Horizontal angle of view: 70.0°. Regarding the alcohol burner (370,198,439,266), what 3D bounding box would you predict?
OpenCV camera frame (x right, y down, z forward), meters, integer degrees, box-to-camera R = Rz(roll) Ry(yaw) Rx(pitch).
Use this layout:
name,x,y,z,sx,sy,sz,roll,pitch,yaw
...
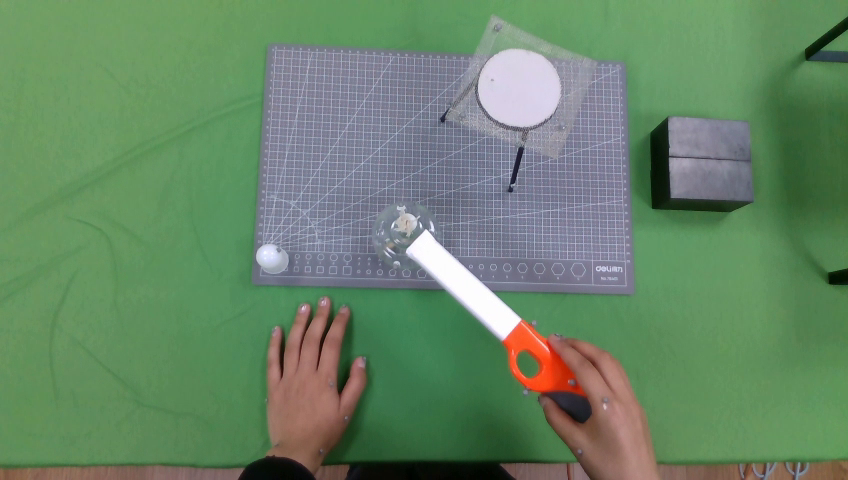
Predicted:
name,x,y,z,sx,sy,sz,roll,pitch,yaw
alcohol burner,-0.021,-0.011,0.660,0.078,0.119,0.077,1,81,-4

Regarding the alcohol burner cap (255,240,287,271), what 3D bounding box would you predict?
name,x,y,z,sx,sy,sz,roll,pitch,yaw
alcohol burner cap,-0.174,0.015,0.680,0.034,0.048,0.033,1,79,-5

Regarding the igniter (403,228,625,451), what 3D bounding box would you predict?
name,x,y,z,sx,sy,sz,roll,pitch,yaw
igniter,0.088,0.094,0.582,0.276,0.025,0.057,43,78,4

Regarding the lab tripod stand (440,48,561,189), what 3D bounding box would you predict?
name,x,y,z,sx,sy,sz,roll,pitch,yaw
lab tripod stand,0.095,-0.147,0.683,0.148,0.132,0.147,1,77,-3

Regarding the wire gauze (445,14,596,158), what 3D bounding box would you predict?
name,x,y,z,sx,sy,sz,roll,pitch,yaw
wire gauze,0.101,-0.157,0.616,0.121,0.011,0.124,24,78,0
